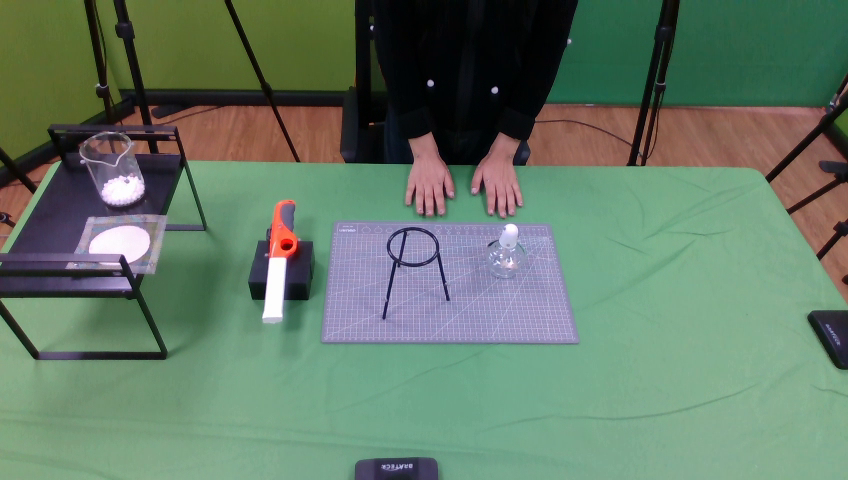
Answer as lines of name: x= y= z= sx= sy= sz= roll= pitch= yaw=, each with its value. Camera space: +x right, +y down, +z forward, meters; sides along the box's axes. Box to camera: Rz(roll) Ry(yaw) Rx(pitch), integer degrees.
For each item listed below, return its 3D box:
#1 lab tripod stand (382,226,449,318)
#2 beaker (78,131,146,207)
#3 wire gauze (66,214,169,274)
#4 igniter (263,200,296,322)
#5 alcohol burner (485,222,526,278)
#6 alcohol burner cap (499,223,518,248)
lab tripod stand: x=-0.023 y=0.055 z=1.062 sx=0.148 sy=0.132 sz=0.147 roll=2 pitch=48 yaw=-3
beaker: x=-0.488 y=-0.108 z=0.961 sx=0.074 sy=0.101 sz=0.083 roll=-25 pitch=54 yaw=-25
wire gauze: x=-0.460 y=0.004 z=0.919 sx=0.125 sy=0.011 sz=0.120 roll=0 pitch=44 yaw=-7
igniter: x=-0.260 y=0.027 z=1.083 sx=0.057 sy=0.025 sz=0.274 roll=0 pitch=49 yaw=-7
alcohol burner: x=0.154 y=0.014 z=1.129 sx=0.078 sy=0.119 sz=0.077 roll=3 pitch=44 yaw=-2
alcohol burner cap: x=0.156 y=-0.010 z=1.102 sx=0.034 sy=0.048 sz=0.033 roll=1 pitch=53 yaw=-1
